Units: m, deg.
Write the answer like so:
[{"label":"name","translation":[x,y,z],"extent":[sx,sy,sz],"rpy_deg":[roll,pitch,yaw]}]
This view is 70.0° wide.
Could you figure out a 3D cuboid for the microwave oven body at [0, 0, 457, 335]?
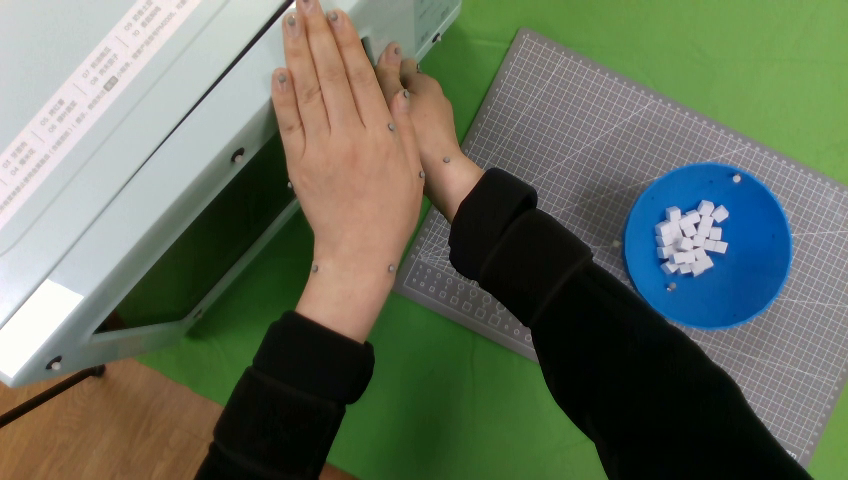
[{"label":"microwave oven body","translation":[-0.225,-0.177,0.484],"extent":[0.326,0.260,0.441],"rpy_deg":[40,88,1]}]

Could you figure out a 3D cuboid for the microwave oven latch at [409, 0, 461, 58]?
[{"label":"microwave oven latch","translation":[0.002,-0.212,0.585],"extent":[0.030,0.029,0.079],"rpy_deg":[42,88,1]}]

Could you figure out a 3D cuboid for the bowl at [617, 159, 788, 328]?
[{"label":"bowl","translation":[0.249,0.005,0.574],"extent":[0.151,0.077,0.151],"rpy_deg":[0,88,0]}]

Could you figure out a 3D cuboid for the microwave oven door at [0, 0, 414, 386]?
[{"label":"microwave oven door","translation":[-0.138,-0.048,0.474],"extent":[0.039,0.244,0.355],"rpy_deg":[41,87,2]}]
